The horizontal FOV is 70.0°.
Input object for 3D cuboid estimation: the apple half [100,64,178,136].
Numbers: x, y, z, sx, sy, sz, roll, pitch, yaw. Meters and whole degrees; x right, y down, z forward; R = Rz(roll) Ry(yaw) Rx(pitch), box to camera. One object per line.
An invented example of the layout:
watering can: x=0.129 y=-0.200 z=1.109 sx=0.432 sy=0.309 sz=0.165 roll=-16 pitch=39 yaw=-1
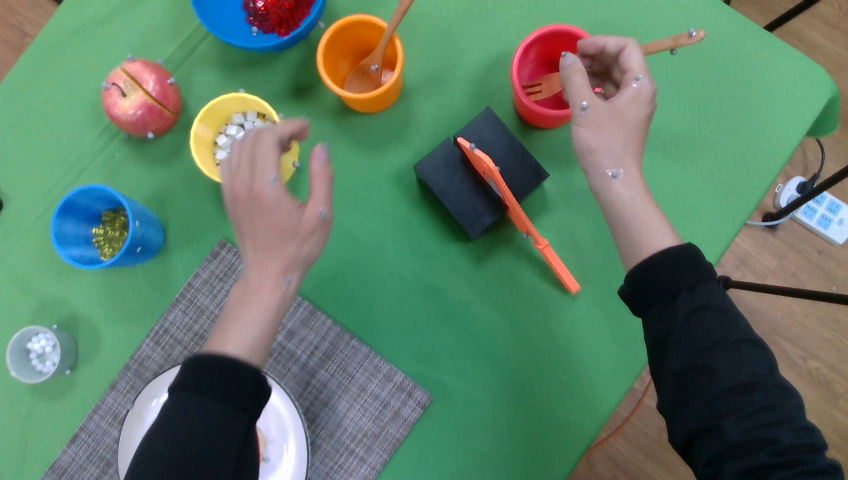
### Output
apple half: x=-0.323 y=-0.147 z=0.676 sx=0.081 sy=0.074 sz=0.053 roll=42 pitch=91 yaw=2

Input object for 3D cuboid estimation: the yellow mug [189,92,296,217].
yellow mug: x=-0.196 y=-0.090 z=0.669 sx=0.100 sy=0.064 sz=0.130 roll=-6 pitch=86 yaw=2

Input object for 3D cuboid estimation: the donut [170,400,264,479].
donut: x=-0.220 y=0.219 z=0.645 sx=0.099 sy=0.048 sz=0.099 roll=0 pitch=87 yaw=4

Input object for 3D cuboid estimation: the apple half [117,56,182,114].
apple half: x=-0.296 y=-0.178 z=0.677 sx=0.081 sy=0.081 sz=0.033 roll=43 pitch=88 yaw=6

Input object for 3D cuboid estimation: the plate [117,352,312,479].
plate: x=-0.222 y=0.225 z=0.657 sx=0.209 sy=0.038 sz=0.208 roll=0 pitch=86 yaw=3

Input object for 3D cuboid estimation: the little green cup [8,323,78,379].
little green cup: x=-0.423 y=0.122 z=0.678 sx=0.061 sy=0.039 sz=0.061 roll=0 pitch=86 yaw=3

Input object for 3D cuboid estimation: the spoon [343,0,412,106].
spoon: x=-0.037 y=-0.216 z=0.631 sx=0.041 sy=0.194 sz=0.021 roll=47 pitch=45 yaw=6

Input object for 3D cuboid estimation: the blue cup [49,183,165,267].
blue cup: x=-0.330 y=-0.011 z=0.652 sx=0.092 sy=0.100 sz=0.092 roll=0 pitch=86 yaw=1

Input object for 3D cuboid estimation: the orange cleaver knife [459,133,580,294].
orange cleaver knife: x=0.102 y=-0.027 z=0.643 sx=0.012 sy=0.076 sz=0.213 roll=-38 pitch=114 yaw=2

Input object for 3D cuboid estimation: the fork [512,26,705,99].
fork: x=0.179 y=-0.180 z=0.620 sx=0.206 sy=0.019 sz=0.028 roll=-9 pitch=69 yaw=44

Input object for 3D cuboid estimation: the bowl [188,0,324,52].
bowl: x=-0.177 y=-0.273 z=0.677 sx=0.151 sy=0.077 sz=0.151 roll=0 pitch=86 yaw=2
